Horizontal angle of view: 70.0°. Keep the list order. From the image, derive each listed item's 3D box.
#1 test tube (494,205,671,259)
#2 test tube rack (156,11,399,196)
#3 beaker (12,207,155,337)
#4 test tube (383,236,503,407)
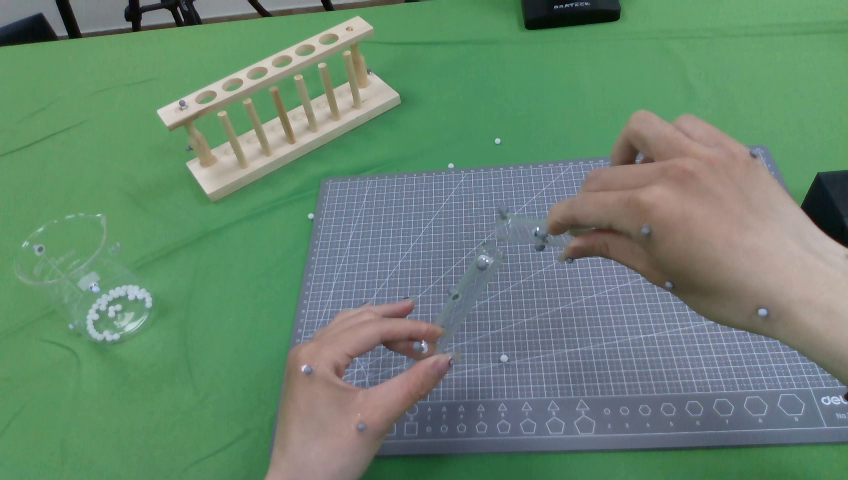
[{"bbox_3d":[0.105,-0.003,0.380,0.151,0.017,0.017,8,41,-33],"label":"test tube"},{"bbox_3d":[-0.151,-0.152,0.663,0.242,0.086,0.066,-32,54,-17],"label":"test tube rack"},{"bbox_3d":[-0.286,0.030,0.526,0.073,0.101,0.083,19,56,22],"label":"beaker"},{"bbox_3d":[0.008,0.058,0.387,0.017,0.151,0.017,22,31,-13],"label":"test tube"}]
